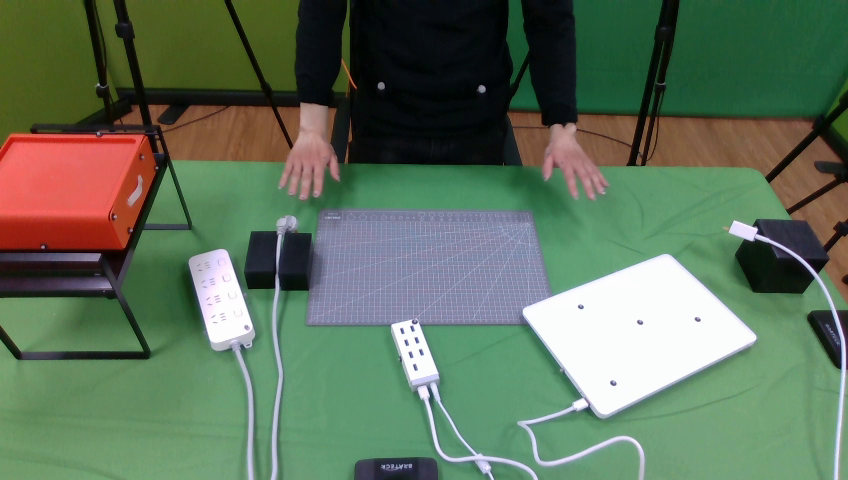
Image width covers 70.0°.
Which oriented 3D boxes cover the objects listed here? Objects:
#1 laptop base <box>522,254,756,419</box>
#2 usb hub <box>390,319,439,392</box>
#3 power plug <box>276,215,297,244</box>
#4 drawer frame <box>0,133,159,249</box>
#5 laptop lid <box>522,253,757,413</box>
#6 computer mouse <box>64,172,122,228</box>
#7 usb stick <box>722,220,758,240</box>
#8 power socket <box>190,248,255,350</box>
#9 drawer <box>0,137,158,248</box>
[{"bbox_3d":[0.381,0.157,1.080,0.355,0.023,0.234,-18,48,-20],"label":"laptop base"},{"bbox_3d":[-0.016,0.190,1.013,0.049,0.025,0.124,-11,48,-15],"label":"usb hub"},{"bbox_3d":[-0.267,-0.015,1.157,0.035,0.053,0.072,7,63,26],"label":"power plug"},{"bbox_3d":[-0.553,-0.078,0.942,0.214,0.083,0.200,-1,47,-4],"label":"drawer frame"},{"bbox_3d":[0.380,0.147,1.073,0.357,0.013,0.240,-17,48,-19],"label":"laptop lid"},{"bbox_3d":[-0.521,-0.067,0.955,0.063,0.041,0.116,0,48,-9],"label":"computer mouse"},{"bbox_3d":[0.593,-0.021,1.139,0.059,0.027,0.021,22,12,29],"label":"usb stick"},{"bbox_3d":[-0.358,0.100,1.069,0.072,0.033,0.225,-17,51,-18],"label":"power socket"},{"bbox_3d":[-0.549,-0.079,0.944,0.212,0.073,0.193,0,47,-3],"label":"drawer"}]
